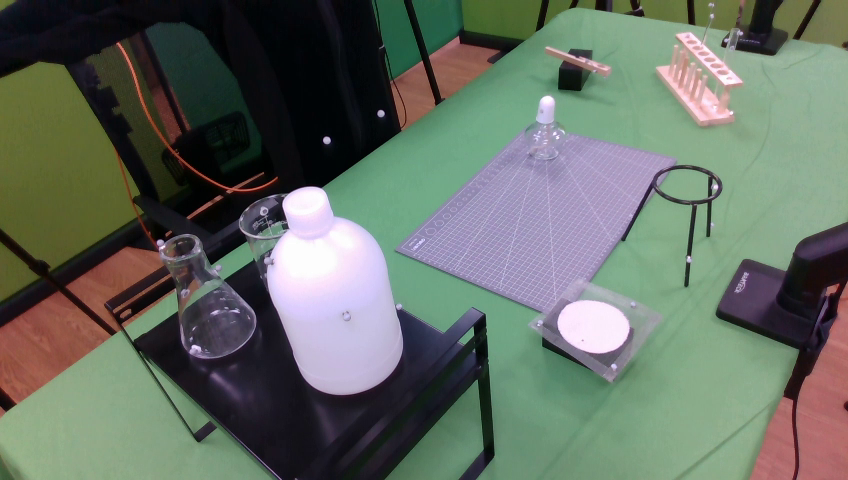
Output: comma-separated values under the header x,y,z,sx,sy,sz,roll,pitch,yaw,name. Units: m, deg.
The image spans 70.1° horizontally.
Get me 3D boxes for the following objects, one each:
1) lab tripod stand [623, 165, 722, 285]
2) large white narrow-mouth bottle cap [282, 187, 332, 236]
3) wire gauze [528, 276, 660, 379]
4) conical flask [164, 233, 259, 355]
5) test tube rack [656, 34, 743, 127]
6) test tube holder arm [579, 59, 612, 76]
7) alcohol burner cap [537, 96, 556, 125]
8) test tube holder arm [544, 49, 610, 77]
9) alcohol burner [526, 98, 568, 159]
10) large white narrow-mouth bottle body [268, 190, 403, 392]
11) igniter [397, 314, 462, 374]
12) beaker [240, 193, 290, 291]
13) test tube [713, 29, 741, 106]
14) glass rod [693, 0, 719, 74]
x,y,z,sx,sy,sz,roll,pitch,yaw,name
0.365,-0.030,0.874,0.148,0.132,0.147,-6,41,6,lab tripod stand
-0.092,-0.023,0.478,0.038,0.024,0.037,-5,40,5,large white narrow-mouth bottle cap
0.214,0.103,0.763,0.124,0.011,0.122,30,52,35,wire gauze
-0.216,0.051,0.601,0.075,0.122,0.075,-4,40,4,conical flask
0.553,-0.330,1.233,0.067,0.085,0.241,-7,40,2,test tube rack
0.362,-0.368,1.289,0.010,0.015,0.087,-25,43,-31,test tube holder arm
0.223,-0.237,1.095,0.034,0.048,0.033,0,42,1,alcohol burner cap
0.330,-0.387,1.314,0.013,0.015,0.177,-25,43,-31,test tube holder arm
0.228,-0.210,1.118,0.078,0.119,0.077,-5,43,5,alcohol burner
-0.080,0.042,0.534,0.102,0.195,0.101,-5,41,5,large white narrow-mouth bottle body
-0.059,0.107,0.862,0.274,0.025,0.057,28,62,34,igniter
-0.144,0.009,0.656,0.084,0.101,0.073,-25,43,-20,beaker
0.572,-0.324,1.146,0.017,0.151,0.017,-3,40,3,test tube
0.560,-0.401,1.214,0.008,0.200,0.008,-1,48,2,glass rod
